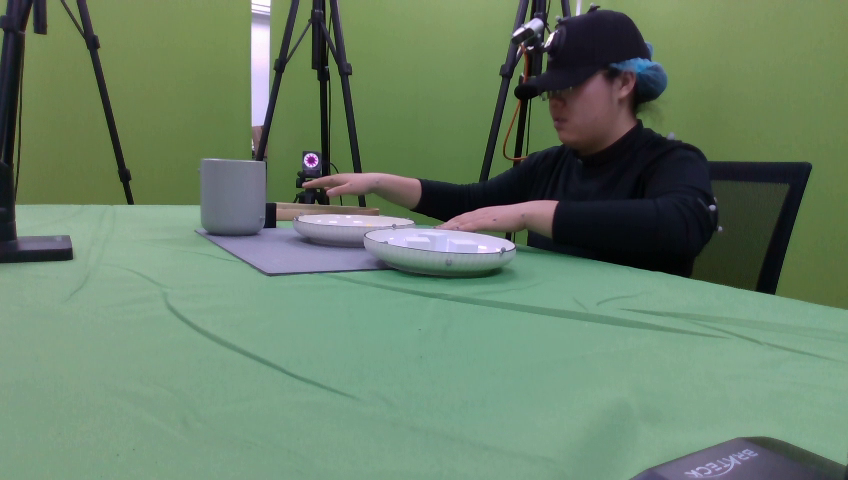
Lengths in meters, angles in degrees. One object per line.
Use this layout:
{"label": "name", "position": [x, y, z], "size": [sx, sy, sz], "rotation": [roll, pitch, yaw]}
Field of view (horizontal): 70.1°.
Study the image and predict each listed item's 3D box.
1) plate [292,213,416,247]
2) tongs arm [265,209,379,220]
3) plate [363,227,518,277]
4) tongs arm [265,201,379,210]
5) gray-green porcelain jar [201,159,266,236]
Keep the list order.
{"label": "plate", "position": [-0.118, -0.017, 1.024], "size": [0.208, 0.039, 0.207], "rotation": [2, 7, 0]}
{"label": "tongs arm", "position": [-0.277, -0.057, 1.342], "size": [0.389, 0.028, 0.028], "rotation": [-1, 6, -25]}
{"label": "plate", "position": [0.022, 0.016, 0.817], "size": [0.209, 0.038, 0.209], "rotation": [3, 9, 0]}
{"label": "tongs arm", "position": [-0.300, -0.073, 1.417], "size": [0.386, 0.026, 0.050], "rotation": [2, 9, -13]}
{"label": "gray-green porcelain jar", "position": [-0.326, -0.074, 1.036], "size": [0.106, 0.126, 0.106], "rotation": [3, 8, 0]}
